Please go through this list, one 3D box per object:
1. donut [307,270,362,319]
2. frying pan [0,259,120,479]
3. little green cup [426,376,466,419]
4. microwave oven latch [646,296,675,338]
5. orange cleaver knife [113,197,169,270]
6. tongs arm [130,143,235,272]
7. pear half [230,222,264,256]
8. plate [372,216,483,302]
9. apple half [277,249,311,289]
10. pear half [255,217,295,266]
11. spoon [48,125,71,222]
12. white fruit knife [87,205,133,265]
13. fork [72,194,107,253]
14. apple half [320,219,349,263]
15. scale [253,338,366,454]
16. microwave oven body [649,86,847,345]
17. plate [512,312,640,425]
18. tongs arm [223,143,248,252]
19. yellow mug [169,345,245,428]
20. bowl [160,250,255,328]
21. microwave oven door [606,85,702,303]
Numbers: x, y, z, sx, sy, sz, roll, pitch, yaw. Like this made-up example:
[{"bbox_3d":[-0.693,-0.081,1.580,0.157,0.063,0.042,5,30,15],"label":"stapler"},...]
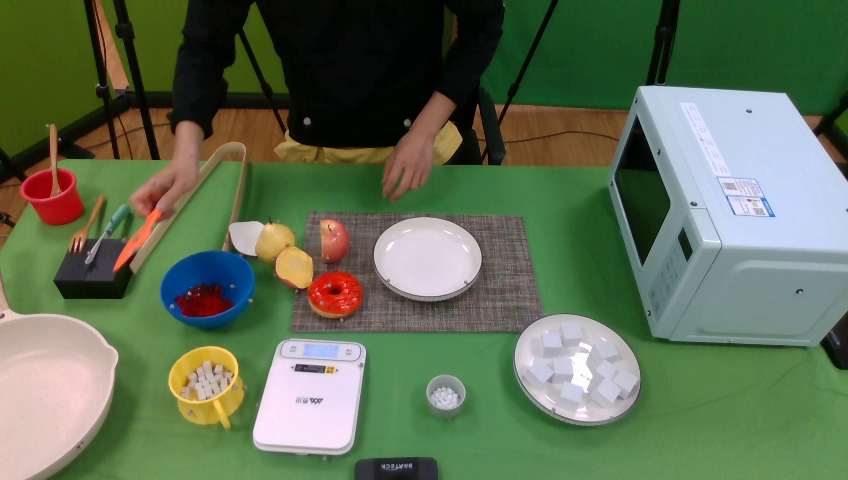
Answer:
[{"bbox_3d":[-0.157,0.097,1.073,0.099,0.048,0.098,4,45,-4],"label":"donut"},{"bbox_3d":[-0.647,0.164,0.936,0.307,0.103,0.485,-19,58,-22],"label":"frying pan"},{"bbox_3d":[0.033,0.248,0.950,0.061,0.039,0.061,2,46,-2],"label":"little green cup"},{"bbox_3d":[0.412,0.134,1.061,0.030,0.029,0.078,4,45,1],"label":"microwave oven latch"},{"bbox_3d":[-0.431,-0.014,0.929,0.077,0.012,0.210,-41,25,5],"label":"orange cleaver knife"},{"bbox_3d":[-0.483,-0.079,1.233,0.028,0.028,0.385,7,45,12],"label":"tongs arm"},{"bbox_3d":[-0.333,0.000,1.167,0.088,0.031,0.070,31,52,5],"label":"pear half"},{"bbox_3d":[0.006,0.038,1.145,0.209,0.038,0.208,2,46,-2],"label":"plate"},{"bbox_3d":[-0.244,0.057,1.114,0.033,0.082,0.081,-33,41,25],"label":"apple half"},{"bbox_3d":[-0.269,0.001,1.117,0.056,0.110,0.076,25,54,19],"label":"pear half"},{"bbox_3d":[-0.719,-0.131,1.189,0.041,0.021,0.193,-3,90,-7],"label":"spoon"},{"bbox_3d":[-0.584,-0.013,1.129,0.016,0.027,0.206,0,31,-4],"label":"white fruit knife"},{"bbox_3d":[-0.634,-0.036,1.158,0.028,0.019,0.206,-8,32,-8],"label":"fork"},{"bbox_3d":[-0.169,0.002,1.144,0.053,0.075,0.080,-3,42,-12],"label":"apple half"},{"bbox_3d":[-0.175,0.236,0.951,0.149,0.032,0.199,4,45,0],"label":"scale"},{"bbox_3d":[0.567,-0.053,1.118,0.326,0.261,0.439,2,45,-1],"label":"microwave oven body"},{"bbox_3d":[0.246,0.213,0.999,0.208,0.039,0.206,2,46,-2],"label":"plate"},{"bbox_3d":[-0.398,-0.073,1.232,0.051,0.026,0.382,-1,45,-1],"label":"tongs arm"},{"bbox_3d":[-0.322,0.230,0.922,0.100,0.064,0.130,-24,53,-25],"label":"yellow mug"},{"bbox_3d":[-0.362,0.098,1.040,0.151,0.077,0.150,2,45,-2],"label":"bowl"},{"bbox_3d":[0.422,-0.094,1.140,0.039,0.245,0.353,2,46,-1],"label":"microwave oven door"}]
